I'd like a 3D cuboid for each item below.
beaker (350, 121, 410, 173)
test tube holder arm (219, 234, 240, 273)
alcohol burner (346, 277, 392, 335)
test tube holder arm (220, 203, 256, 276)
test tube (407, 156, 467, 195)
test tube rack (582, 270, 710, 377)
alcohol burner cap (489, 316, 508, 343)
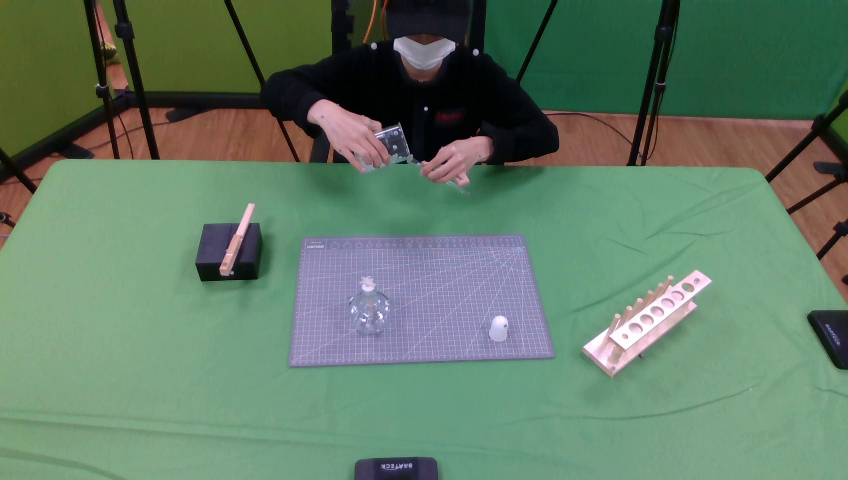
[{"bbox_3d":[-0.083,-0.172,1.154,0.100,0.084,0.073,-17,37,2],"label":"beaker"},{"bbox_3d":[-0.344,0.023,1.076,0.015,0.010,0.087,5,45,2],"label":"test tube holder arm"},{"bbox_3d":[-0.093,0.106,1.021,0.078,0.120,0.077,1,46,-1],"label":"alcohol burner"},{"bbox_3d":[-0.340,-0.005,1.112,0.015,0.013,0.177,5,46,2],"label":"test tube holder arm"},{"bbox_3d":[0.027,-0.127,1.213,0.151,0.017,0.017,27,38,-29],"label":"test tube"},{"bbox_3d":[0.389,0.132,1.057,0.242,0.085,0.066,-28,53,-28],"label":"test tube rack"},{"bbox_3d":[0.130,0.151,1.045,0.034,0.048,0.033,2,46,-2],"label":"alcohol burner cap"}]
